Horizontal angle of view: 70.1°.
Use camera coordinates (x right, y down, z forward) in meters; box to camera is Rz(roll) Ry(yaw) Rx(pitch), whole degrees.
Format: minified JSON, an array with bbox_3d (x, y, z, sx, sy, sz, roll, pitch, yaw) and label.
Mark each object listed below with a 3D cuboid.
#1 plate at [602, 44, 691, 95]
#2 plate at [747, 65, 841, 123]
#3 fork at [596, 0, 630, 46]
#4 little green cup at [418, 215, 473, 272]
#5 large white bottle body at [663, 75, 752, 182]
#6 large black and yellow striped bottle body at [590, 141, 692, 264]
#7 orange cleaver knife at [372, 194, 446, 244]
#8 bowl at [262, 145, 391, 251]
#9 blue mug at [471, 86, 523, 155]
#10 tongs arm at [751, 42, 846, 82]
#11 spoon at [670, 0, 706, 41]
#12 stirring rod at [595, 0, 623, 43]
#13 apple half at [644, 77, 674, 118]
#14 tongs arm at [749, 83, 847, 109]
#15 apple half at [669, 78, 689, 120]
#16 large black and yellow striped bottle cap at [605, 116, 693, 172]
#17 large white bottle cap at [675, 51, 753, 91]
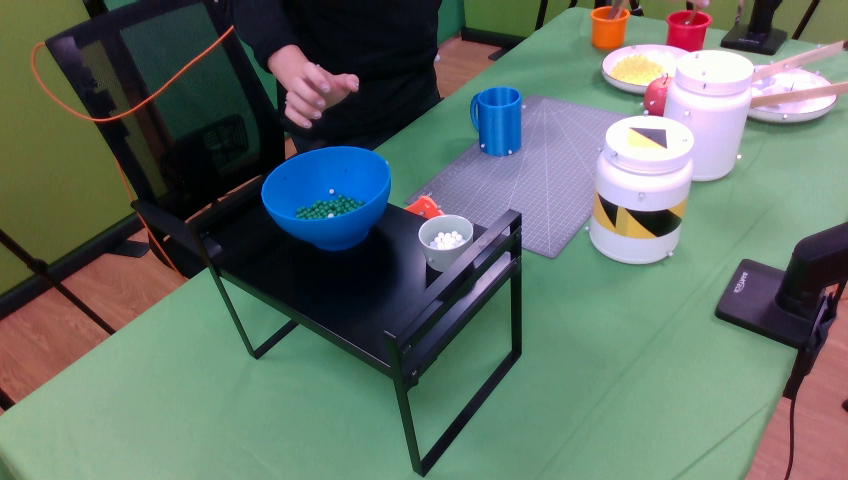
[{"bbox_3d":[0.494,-0.366,1.317,0.209,0.038,0.208,-4,40,4],"label":"plate"},{"bbox_3d":[0.694,-0.282,1.189,0.207,0.039,0.206,-4,40,4],"label":"plate"},{"bbox_3d":[0.481,-0.556,1.452,0.028,0.019,0.207,41,103,41],"label":"fork"},{"bbox_3d":[0.026,0.005,0.678,0.061,0.039,0.061,-4,40,4],"label":"little green cup"},{"bbox_3d":[0.472,-0.207,1.022,0.130,0.185,0.130,-4,41,4],"label":"large white bottle body"},{"bbox_3d":[0.317,-0.071,0.889,0.131,0.185,0.130,-4,41,4],"label":"large black and yellow striped bottle body"},{"bbox_3d":[-0.032,-0.026,0.964,0.210,0.077,0.012,-9,29,51],"label":"orange cleaver knife"},{"bbox_3d":[-0.108,-0.041,0.723,0.151,0.077,0.150,-4,40,4],"label":"bowl"},{"bbox_3d":[0.135,-0.235,1.163,0.082,0.106,0.115,-36,48,-29],"label":"blue mug"},{"bbox_3d":[0.708,-0.331,1.193,0.386,0.026,0.050,-18,45,-16],"label":"tongs arm"},{"bbox_3d":[0.611,-0.517,1.340,0.022,0.193,0.041,-12,68,-19],"label":"spoon"},{"bbox_3d":[0.460,-0.556,1.460,0.014,0.006,0.176,30,94,23],"label":"stirring rod"},{"bbox_3d":[0.463,-0.279,1.194,0.053,0.075,0.081,8,46,24],"label":"apple half"},{"bbox_3d":[0.734,-0.280,1.133,0.388,0.028,0.028,-9,47,-5],"label":"tongs arm"},{"bbox_3d":[0.498,-0.273,1.180,0.032,0.082,0.081,7,42,25],"label":"apple half"},{"bbox_3d":[0.309,-0.134,0.833,0.115,0.019,0.114,-5,40,5],"label":"large black and yellow striped bottle cap"},{"bbox_3d":[0.463,-0.271,0.967,0.115,0.018,0.114,-4,40,4],"label":"large white bottle cap"}]
